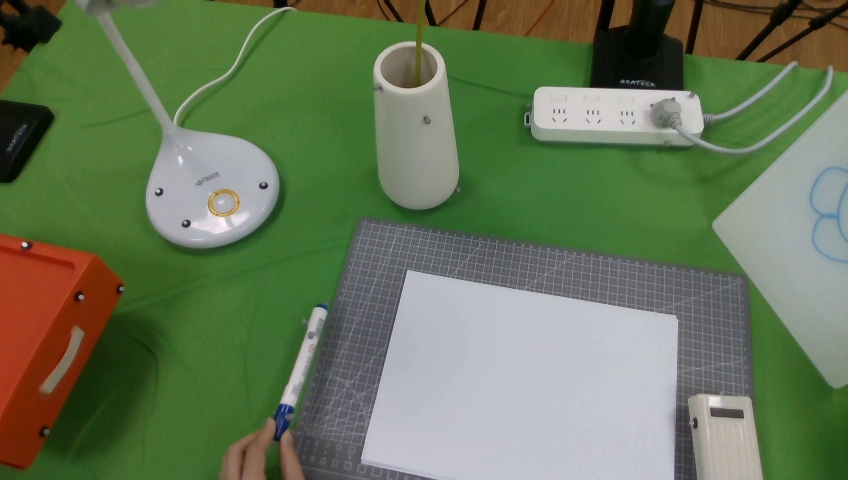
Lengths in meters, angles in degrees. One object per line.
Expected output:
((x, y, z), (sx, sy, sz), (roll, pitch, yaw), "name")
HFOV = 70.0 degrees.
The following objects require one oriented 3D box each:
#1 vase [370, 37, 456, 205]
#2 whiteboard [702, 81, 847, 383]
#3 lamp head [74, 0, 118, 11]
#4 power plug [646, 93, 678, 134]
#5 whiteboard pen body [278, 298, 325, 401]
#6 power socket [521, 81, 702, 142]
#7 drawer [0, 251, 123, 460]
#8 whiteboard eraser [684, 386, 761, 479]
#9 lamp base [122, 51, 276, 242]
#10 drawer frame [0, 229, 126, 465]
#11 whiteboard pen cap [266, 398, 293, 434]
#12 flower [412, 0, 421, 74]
((-0.014, -0.124, 0.669), (0.098, 0.201, 0.097), (-2, 60, 3), "vase")
((0.470, -0.037, 0.577), (0.144, 0.307, 0.215), (-11, 59, -25), "whiteboard")
((-0.239, -0.240, 0.420), (0.123, 0.112, 0.112), (48, 68, -17), "lamp head")
((0.287, -0.148, 0.738), (0.035, 0.053, 0.072), (13, 64, 10), "power plug")
((-0.127, 0.121, 0.615), (0.017, 0.017, 0.139), (9, 56, 7), "whiteboard pen body")
((0.239, -0.164, 0.776), (0.226, 0.033, 0.071), (4, 62, 4), "power socket")
((-0.439, 0.087, 0.585), (0.211, 0.074, 0.193), (11, 63, 8), "drawer")
((0.280, 0.196, 0.570), (0.055, 0.042, 0.112), (4, 62, 3), "whiteboard eraser")
((-0.274, -0.112, 0.682), (0.160, 0.182, 0.177), (-41, 65, -19), "lamp base")
((-0.445, 0.088, 0.587), (0.213, 0.083, 0.200), (12, 63, 6), "drawer frame")
((-0.138, 0.168, 0.580), (0.018, 0.018, 0.033), (8, 56, 7), "whiteboard pen cap")
((-0.008, -0.179, 0.604), (0.038, 0.365, 0.043), (-2, 43, -6), "flower")
